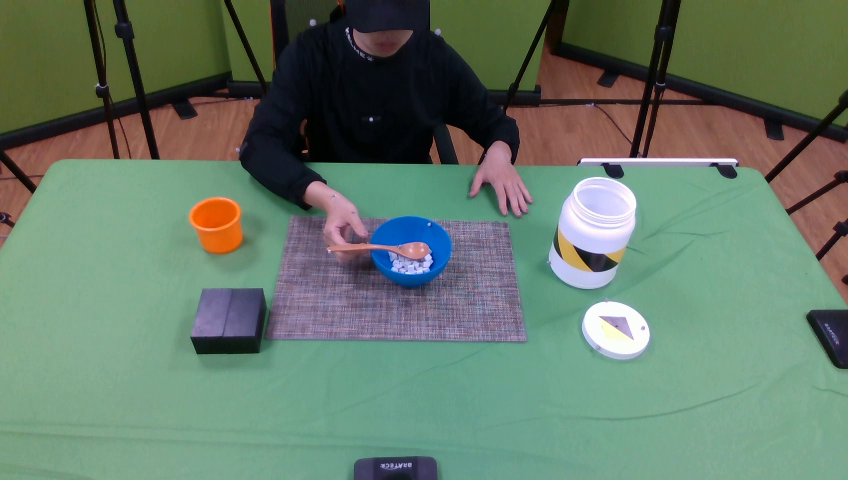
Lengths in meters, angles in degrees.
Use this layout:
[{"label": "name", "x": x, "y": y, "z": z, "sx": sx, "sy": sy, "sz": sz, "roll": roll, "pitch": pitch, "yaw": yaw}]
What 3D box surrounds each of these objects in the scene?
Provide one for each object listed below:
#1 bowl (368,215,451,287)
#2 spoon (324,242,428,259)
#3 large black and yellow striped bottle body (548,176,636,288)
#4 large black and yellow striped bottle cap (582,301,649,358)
[{"label": "bowl", "x": -0.028, "y": 0.033, "z": 1.119, "sx": 0.151, "sy": 0.077, "sz": 0.150, "roll": 2, "pitch": 46, "yaw": -2}, {"label": "spoon", "x": -0.083, "y": 0.015, "z": 1.085, "sx": 0.194, "sy": 0.022, "sz": 0.041, "roll": 4, "pitch": 46, "yaw": -26}, {"label": "large black and yellow striped bottle body", "x": 0.310, "y": -0.014, "z": 1.123, "sx": 0.131, "sy": 0.185, "sz": 0.130, "roll": 2, "pitch": 46, "yaw": -2}, {"label": "large black and yellow striped bottle cap", "x": 0.340, "y": 0.157, "z": 1.077, "sx": 0.115, "sy": 0.019, "sz": 0.114, "roll": 1, "pitch": 47, "yaw": -1}]
